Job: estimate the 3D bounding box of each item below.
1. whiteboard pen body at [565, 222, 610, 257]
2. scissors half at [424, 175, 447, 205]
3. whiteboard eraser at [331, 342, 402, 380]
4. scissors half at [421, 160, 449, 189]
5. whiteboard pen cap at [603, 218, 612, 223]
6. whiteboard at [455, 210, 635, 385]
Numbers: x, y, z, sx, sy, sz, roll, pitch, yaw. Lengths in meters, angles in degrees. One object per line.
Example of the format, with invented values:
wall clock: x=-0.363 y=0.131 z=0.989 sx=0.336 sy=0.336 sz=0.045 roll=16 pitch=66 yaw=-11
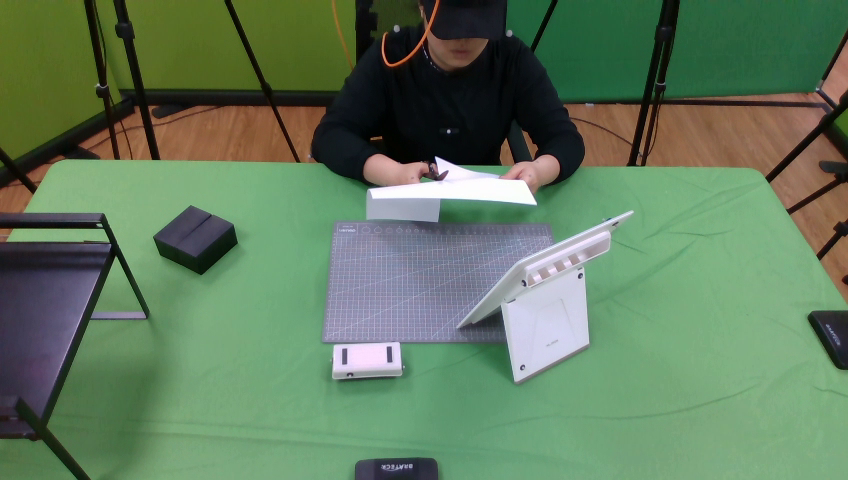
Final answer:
whiteboard pen body: x=0.335 y=-0.004 z=1.228 sx=0.141 sy=0.017 sz=0.017 roll=-33 pitch=56 yaw=-29
scissors half: x=0.024 y=-0.099 z=1.161 sx=0.013 sy=0.175 sz=0.040 roll=-16 pitch=83 yaw=-12
whiteboard eraser: x=-0.094 y=0.198 z=0.986 sx=0.113 sy=0.042 sz=0.055 roll=-2 pitch=44 yaw=-6
scissors half: x=0.020 y=-0.121 z=1.157 sx=0.013 sy=0.040 sz=0.174 roll=-11 pitch=23 yaw=-13
whiteboard pen cap: x=0.379 y=-0.031 z=1.255 sx=0.033 sy=0.018 sz=0.018 roll=-33 pitch=57 yaw=-29
whiteboard: x=0.211 y=0.111 z=0.955 sx=0.217 sy=0.306 sz=0.143 roll=-21 pitch=72 yaw=-23
